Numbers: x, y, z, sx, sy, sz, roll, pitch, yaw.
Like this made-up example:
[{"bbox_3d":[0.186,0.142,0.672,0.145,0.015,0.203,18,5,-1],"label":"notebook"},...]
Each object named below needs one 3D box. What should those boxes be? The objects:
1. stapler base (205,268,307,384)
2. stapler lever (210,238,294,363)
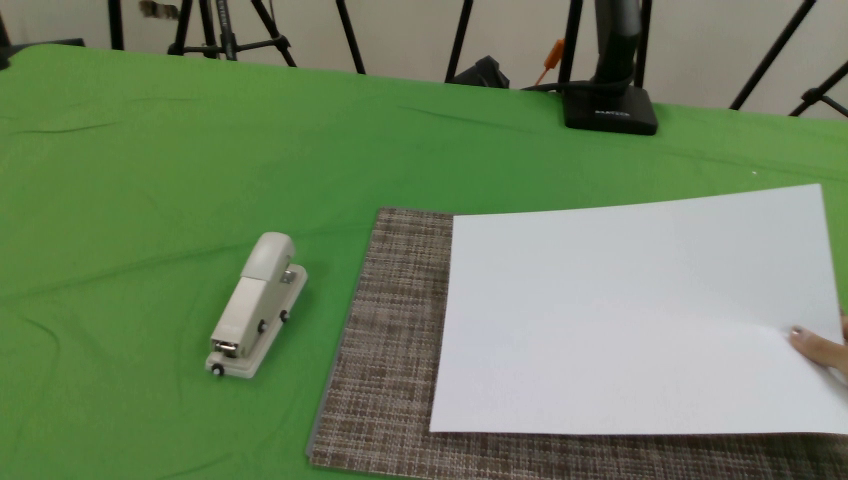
[{"bbox_3d":[-0.141,0.063,0.520,0.041,0.024,0.129,9,42,9],"label":"stapler base"},{"bbox_3d":[-0.140,0.045,0.502,0.027,0.040,0.117,9,42,9],"label":"stapler lever"}]
